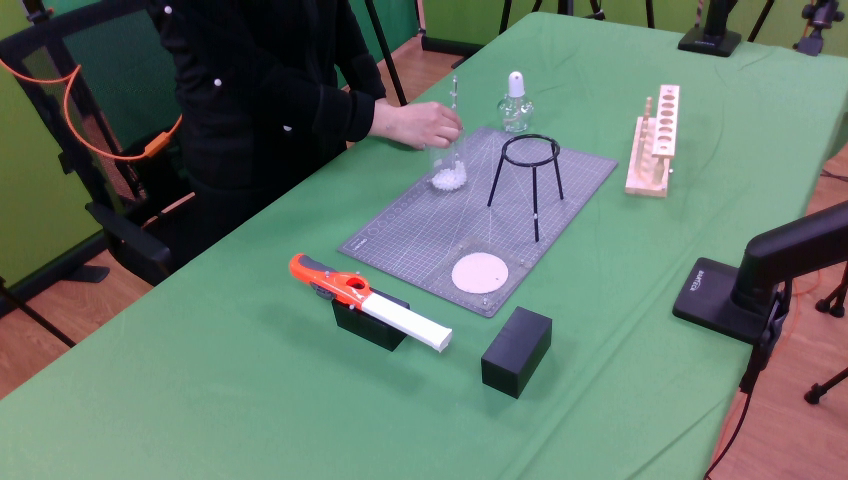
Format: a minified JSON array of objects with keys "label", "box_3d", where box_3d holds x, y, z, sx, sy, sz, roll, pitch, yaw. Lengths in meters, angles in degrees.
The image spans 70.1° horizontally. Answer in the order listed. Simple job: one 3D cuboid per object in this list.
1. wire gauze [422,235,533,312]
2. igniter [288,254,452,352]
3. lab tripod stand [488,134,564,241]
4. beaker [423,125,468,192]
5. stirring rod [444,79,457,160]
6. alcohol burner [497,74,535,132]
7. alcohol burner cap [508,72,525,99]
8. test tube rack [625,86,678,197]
[{"label":"wire gauze","box_3d":[0.081,0.049,0.914,0.120,0.011,0.125,26,52,32]},{"label":"igniter","box_3d":[-0.083,0.079,0.818,0.274,0.025,0.057,23,46,27]},{"label":"lab tripod stand","box_3d":[0.168,-0.092,0.972,0.148,0.132,0.147,-5,41,5]},{"label":"beaker","box_3d":[0.043,-0.144,1.078,0.073,0.100,0.084,28,51,34]},{"label":"stirring rod","box_3d":[0.045,-0.204,1.042,0.006,0.176,0.014,19,53,11]},{"label":"alcohol burner","box_3d":[0.184,-0.278,1.210,0.078,0.119,0.077,-3,42,3]},{"label":"alcohol burner cap","box_3d":[0.181,-0.306,1.186,0.034,0.048,0.033,-7,39,6]},{"label":"test tube rack","box_3d":[0.412,-0.184,1.088,0.066,0.085,0.242,9,43,18]}]
